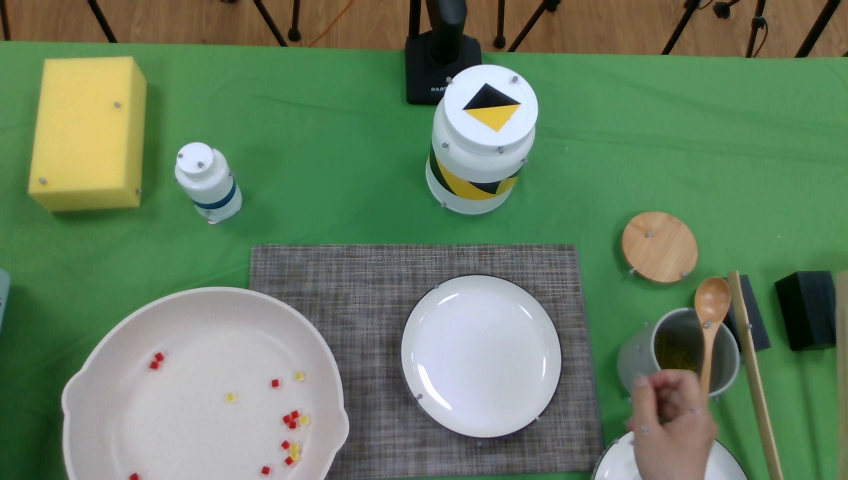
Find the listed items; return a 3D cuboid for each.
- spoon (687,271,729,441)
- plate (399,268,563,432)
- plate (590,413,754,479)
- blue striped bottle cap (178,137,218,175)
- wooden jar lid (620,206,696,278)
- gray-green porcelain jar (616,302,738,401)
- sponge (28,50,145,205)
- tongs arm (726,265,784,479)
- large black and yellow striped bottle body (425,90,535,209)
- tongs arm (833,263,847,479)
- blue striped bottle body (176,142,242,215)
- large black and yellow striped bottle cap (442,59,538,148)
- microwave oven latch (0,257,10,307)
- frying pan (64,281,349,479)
[{"bbox_3d":[0.316,0.128,0.684,0.041,0.022,0.193,16,73,-1],"label":"spoon"},{"bbox_3d":[0.071,0.139,0.776,0.209,0.038,0.207,2,69,-4],"label":"plate"},{"bbox_3d":[0.299,0.318,0.735,0.208,0.039,0.206,2,70,-4],"label":"plate"},{"bbox_3d":[-0.276,-0.103,0.739,0.044,0.021,0.044,2,71,-5],"label":"blue striped bottle cap"},{"bbox_3d":[0.332,0.004,0.864,0.108,0.021,0.107,2,71,-4],"label":"wooden jar lid"},{"bbox_3d":[0.305,0.143,0.753,0.106,0.127,0.105,2,69,-4],"label":"gray-green porcelain jar"},{"bbox_3d":[-0.455,-0.155,0.828,0.118,0.061,0.205,-5,71,-7],"label":"sponge"},{"bbox_3d":[0.439,0.219,0.755,0.051,0.026,0.383,-5,80,-9],"label":"tongs arm"},{"bbox_3d":[0.072,-0.134,0.804,0.131,0.185,0.130,2,69,-4],"label":"large black and yellow striped bottle body"},{"bbox_3d":[0.523,0.219,0.764,0.028,0.028,0.386,10,79,-9],"label":"tongs arm"},{"bbox_3d":[-0.279,-0.084,0.786,0.063,0.121,0.062,2,69,-4],"label":"blue striped bottle body"},{"bbox_3d":[0.079,-0.165,0.726,0.115,0.019,0.114,2,71,-4],"label":"large black and yellow striped bottle cap"},{"bbox_3d":[-0.528,0.060,0.734,0.030,0.029,0.078,3,70,-4],"label":"microwave oven latch"},{"bbox_3d":[-0.252,0.280,0.641,0.307,0.103,0.483,11,57,-6],"label":"frying pan"}]
